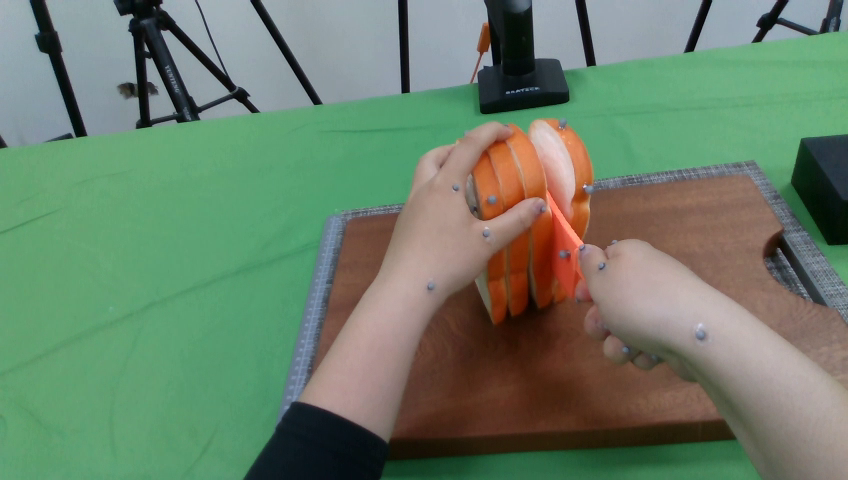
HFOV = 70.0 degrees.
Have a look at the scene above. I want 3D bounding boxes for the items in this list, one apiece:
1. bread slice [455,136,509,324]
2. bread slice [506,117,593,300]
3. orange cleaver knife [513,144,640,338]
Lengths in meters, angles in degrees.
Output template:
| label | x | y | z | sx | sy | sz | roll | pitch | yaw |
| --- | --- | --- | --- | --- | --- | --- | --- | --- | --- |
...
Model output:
| label | x | y | z | sx | sy | sz | roll | pitch | yaw |
| --- | --- | --- | --- | --- | --- | --- | --- | --- | --- |
| bread slice | 0.046 | -0.016 | 0.493 | 0.018 | 0.135 | 0.106 | -12 | 36 | -4 |
| bread slice | 0.102 | -0.031 | 0.496 | 0.019 | 0.132 | 0.103 | -5 | 39 | -15 |
| orange cleaver knife | 0.102 | 0.004 | 0.448 | 0.012 | 0.078 | 0.209 | -14 | 41 | -5 |
